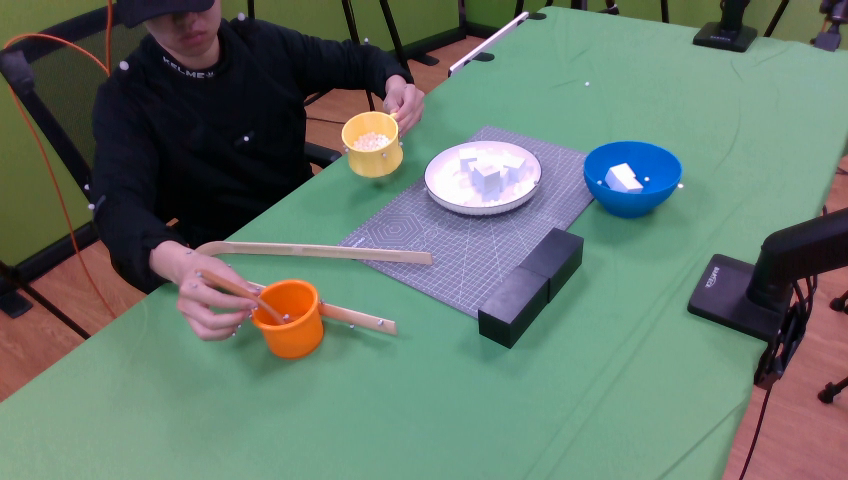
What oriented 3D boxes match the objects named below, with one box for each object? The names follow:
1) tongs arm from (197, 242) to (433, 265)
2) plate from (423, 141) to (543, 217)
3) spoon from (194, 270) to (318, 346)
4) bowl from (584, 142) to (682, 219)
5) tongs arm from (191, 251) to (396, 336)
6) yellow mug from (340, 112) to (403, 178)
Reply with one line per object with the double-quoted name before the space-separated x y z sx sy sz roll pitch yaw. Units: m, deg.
"tongs arm" -0.176 0.024 0.960 0.386 0.028 0.028 2 45 12
"plate" 0.103 -0.103 1.059 0.207 0.039 0.206 -4 40 4
"spoon" -0.212 0.086 0.780 0.021 0.195 0.041 -32 39 18
"bowl" 0.333 -0.087 0.980 0.151 0.077 0.150 -4 40 4
"tongs arm" -0.204 0.074 0.902 0.382 0.026 0.051 11 44 22
"yellow mug" -0.082 -0.178 1.069 0.099 0.064 0.131 31 62 25
